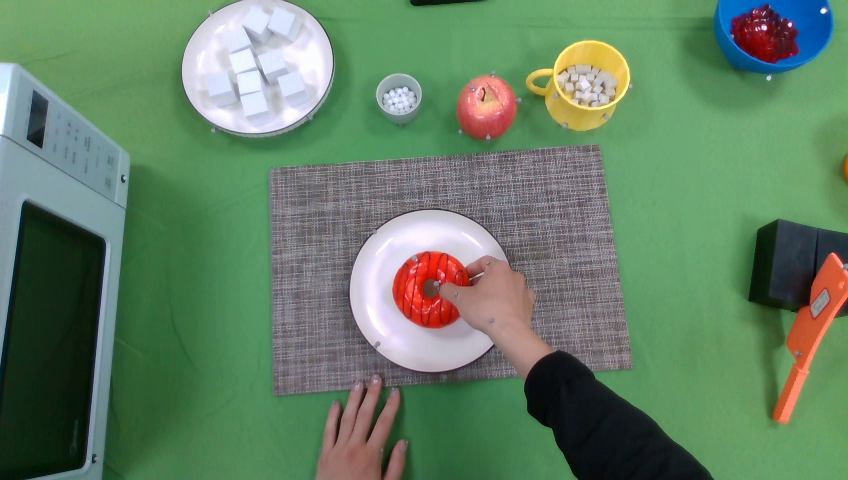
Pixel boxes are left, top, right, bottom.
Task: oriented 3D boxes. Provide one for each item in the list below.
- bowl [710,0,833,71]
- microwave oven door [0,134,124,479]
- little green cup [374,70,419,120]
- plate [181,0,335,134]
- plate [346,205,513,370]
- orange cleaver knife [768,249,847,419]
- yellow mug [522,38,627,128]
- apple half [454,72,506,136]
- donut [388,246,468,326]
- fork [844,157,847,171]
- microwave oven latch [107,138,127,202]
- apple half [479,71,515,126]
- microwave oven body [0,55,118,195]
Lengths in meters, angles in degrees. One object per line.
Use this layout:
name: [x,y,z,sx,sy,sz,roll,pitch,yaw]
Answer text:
bowl: [0.456,-0.288,0.825,0.151,0.077,0.150,0,77,1]
microwave oven door: [-0.403,0.099,0.636,0.039,0.245,0.354,-2,77,0]
little green cup: [-0.036,-0.195,0.826,0.061,0.039,0.061,0,77,1]
plate: [-0.225,-0.240,0.837,0.208,0.039,0.206,0,77,0]
plate: [0.007,0.059,0.764,0.209,0.038,0.208,0,77,0]
orange cleaver knife: [0.454,0.114,0.727,0.012,0.077,0.212,14,109,6]
yellow mug: [0.198,-0.212,0.815,0.131,0.064,0.099,6,77,3]
apple half: [0.068,-0.172,0.803,0.053,0.075,0.080,-31,82,-2]
donut: [0.006,0.056,0.744,0.099,0.048,0.099,0,89,6]
fork: [0.642,-0.110,0.747,0.206,0.019,0.028,-8,69,44]
microwave oven latch: [-0.404,-0.090,0.784,0.030,0.029,0.079,0,78,0]
apple half: [0.101,-0.192,0.807,0.033,0.081,0.081,-31,78,-2]
microwave oven body: [-0.550,0.062,0.650,0.326,0.261,0.439,-1,77,0]
